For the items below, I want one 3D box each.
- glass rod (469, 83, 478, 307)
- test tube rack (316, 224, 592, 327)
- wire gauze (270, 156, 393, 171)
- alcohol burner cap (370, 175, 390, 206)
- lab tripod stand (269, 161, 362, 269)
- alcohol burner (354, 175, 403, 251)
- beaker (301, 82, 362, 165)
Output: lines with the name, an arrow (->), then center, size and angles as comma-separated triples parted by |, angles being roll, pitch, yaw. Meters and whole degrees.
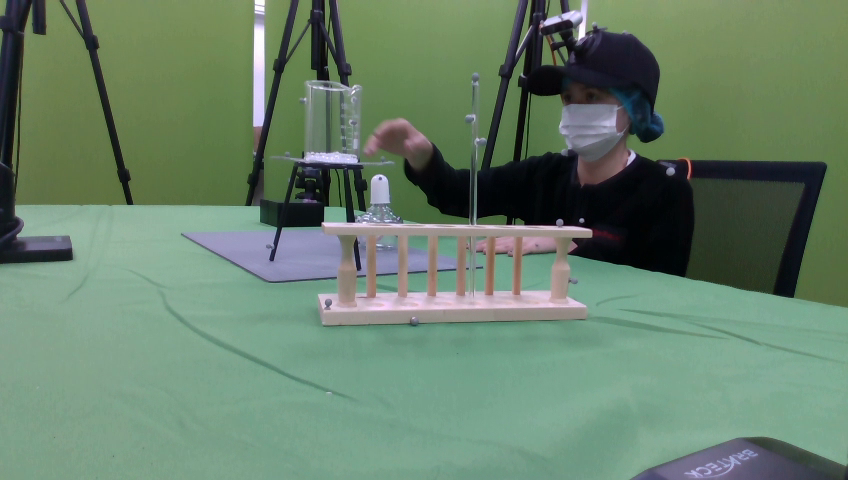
glass rod -> 0.043, -0.033, 0.523 | 0.008, 0.199, 0.008 | -1, 14, 1
test tube rack -> 0.026, 0.028, 0.555 | 0.243, 0.085, 0.066 | 1, 7, -14
wire gauze -> -0.122, -0.100, 0.786 | 0.122, 0.011, 0.124 | -5, 14, -38
alcohol burner cap -> -0.069, -0.077, 0.939 | 0.034, 0.048, 0.034 | -1, 6, 0
lab tripod stand -> -0.125, -0.036, 0.794 | 0.148, 0.131, 0.148 | 5, 7, 0
alcohol burner -> -0.072, -0.042, 0.944 | 0.078, 0.119, 0.078 | 1, 9, 0
beaker -> -0.117, -0.147, 0.776 | 0.074, 0.100, 0.083 | -3, 10, -38
